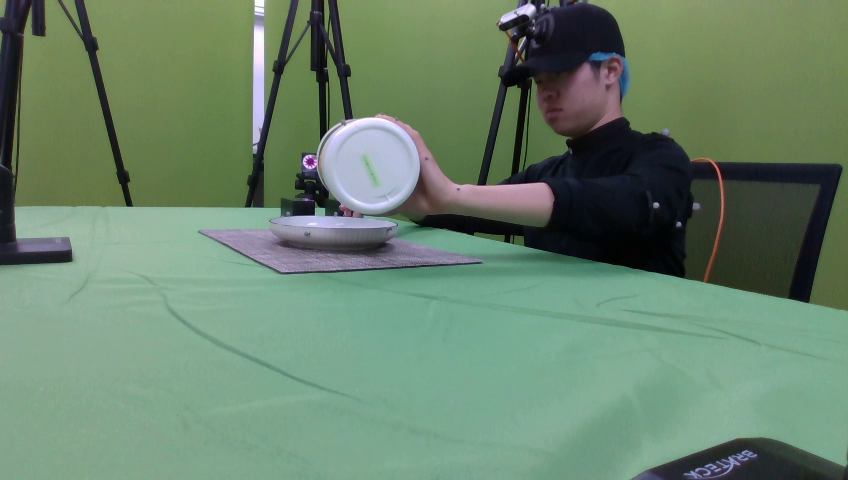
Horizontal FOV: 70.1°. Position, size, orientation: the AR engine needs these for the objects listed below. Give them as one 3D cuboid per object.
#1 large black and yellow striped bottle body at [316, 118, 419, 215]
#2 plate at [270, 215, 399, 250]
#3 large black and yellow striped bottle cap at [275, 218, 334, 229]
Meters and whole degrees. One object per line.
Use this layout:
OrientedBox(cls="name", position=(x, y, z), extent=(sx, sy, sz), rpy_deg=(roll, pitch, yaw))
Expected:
OrientedBox(cls="large black and yellow striped bottle body", position=(-0.090, -0.113, 0.888), extent=(0.131, 0.130, 0.183), rpy_deg=(1, 10, -15))
OrientedBox(cls="plate", position=(-0.145, -0.013, 0.992), extent=(0.208, 0.039, 0.207), rpy_deg=(2, 7, 0))
OrientedBox(cls="large black and yellow striped bottle cap", position=(-0.236, -0.033, 1.197), extent=(0.115, 0.019, 0.115), rpy_deg=(2, 3, 0))
